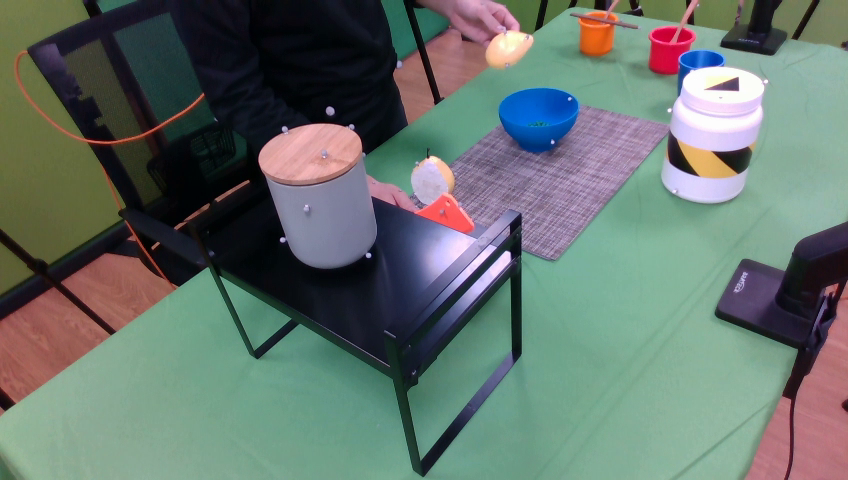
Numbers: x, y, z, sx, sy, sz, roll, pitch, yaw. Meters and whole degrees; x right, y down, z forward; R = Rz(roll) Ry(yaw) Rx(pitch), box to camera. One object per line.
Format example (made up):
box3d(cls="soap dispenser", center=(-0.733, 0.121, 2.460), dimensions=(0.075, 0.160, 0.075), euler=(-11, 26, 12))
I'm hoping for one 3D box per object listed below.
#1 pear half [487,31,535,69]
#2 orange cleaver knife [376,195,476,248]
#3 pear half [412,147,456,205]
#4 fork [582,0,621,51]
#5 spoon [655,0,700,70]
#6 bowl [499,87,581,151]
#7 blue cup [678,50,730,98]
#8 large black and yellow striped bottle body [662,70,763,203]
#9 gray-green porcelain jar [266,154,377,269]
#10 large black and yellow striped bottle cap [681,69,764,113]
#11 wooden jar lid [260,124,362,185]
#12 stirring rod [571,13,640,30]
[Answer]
box3d(cls="pear half", center=(0.147, -0.340, 1.059), dimensions=(0.087, 0.031, 0.070), euler=(-17, 72, 28))
box3d(cls="orange cleaver knife", center=(-0.001, -0.021, 0.944), dimensions=(0.210, 0.077, 0.012), euler=(-12, 23, 51))
box3d(cls="pear half", center=(0.019, -0.120, 1.043), dimensions=(0.076, 0.110, 0.056), euler=(11, 44, 16))
box3d(cls="fork", center=(0.445, -0.539, 1.438), dimensions=(0.207, 0.019, 0.028), euler=(-57, 35, 12))
box3d(cls="spoon", center=(0.568, -0.463, 1.337), dimensions=(0.041, 0.022, 0.193), euler=(30, 97, 37))
box3d(cls="bowl", center=(0.220, -0.223, 1.156), dimensions=(0.151, 0.077, 0.150), euler=(-4, 40, 4))
box3d(cls="blue cup", center=(0.542, -0.310, 1.194), dimensions=(0.092, 0.101, 0.092), euler=(-6, 41, 6))
box3d(cls="large black and yellow striped bottle body", center=(0.464, -0.166, 0.976), dimensions=(0.131, 0.185, 0.130), euler=(-5, 41, 5))
box3d(cls="gray-green porcelain jar", center=(-0.112, -0.039, 0.685), dimensions=(0.106, 0.127, 0.105), euler=(-4, 40, 4))
box3d(cls="large black and yellow striped bottle cap", center=(0.453, -0.229, 0.921), dimensions=(0.115, 0.019, 0.114), euler=(-4, 39, 4))
box3d(cls="wooden jar lid", center=(-0.119, -0.088, 0.644), dimensions=(0.108, 0.021, 0.108), euler=(-4, 40, 3))
box3d(cls="stirring rod", center=(0.419, -0.508, 1.404), dimensions=(0.174, 0.006, 0.014), euler=(28, 55, 35))
